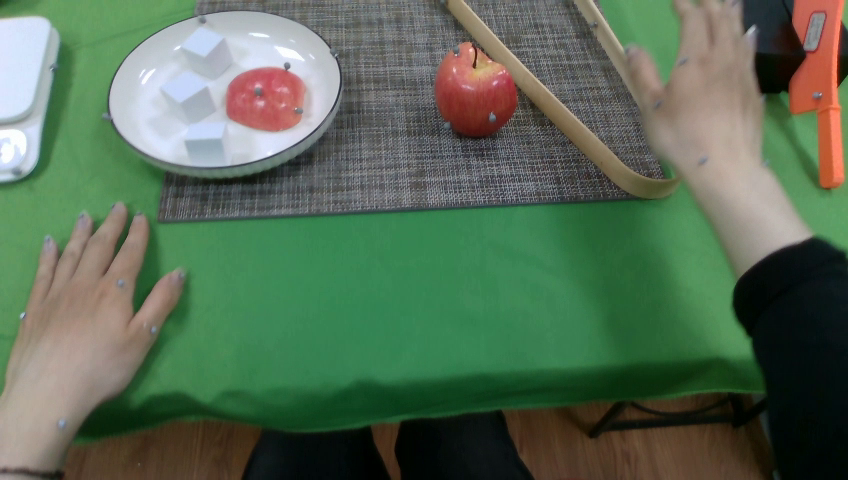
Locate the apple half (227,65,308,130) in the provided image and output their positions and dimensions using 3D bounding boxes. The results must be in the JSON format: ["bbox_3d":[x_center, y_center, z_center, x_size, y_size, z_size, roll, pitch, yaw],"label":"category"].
[{"bbox_3d":[-0.149,-0.142,0.568,0.081,0.033,0.080,3,57,-5],"label":"apple half"}]

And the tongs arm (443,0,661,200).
[{"bbox_3d":[0.097,-0.180,0.617,0.028,0.028,0.384,-23,61,-21],"label":"tongs arm"}]

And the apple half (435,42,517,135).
[{"bbox_3d":[0.039,-0.132,0.556,0.053,0.075,0.080,-38,69,-19],"label":"apple half"}]

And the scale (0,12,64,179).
[{"bbox_3d":[-0.426,-0.136,0.565,0.149,0.032,0.199,-7,58,-7],"label":"scale"}]

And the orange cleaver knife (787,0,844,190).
[{"bbox_3d":[0.375,-0.150,0.582,0.012,0.077,0.211,2,86,-5],"label":"orange cleaver knife"}]

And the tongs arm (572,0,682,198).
[{"bbox_3d":[0.175,-0.204,0.635,0.051,0.027,0.381,-13,59,-12],"label":"tongs arm"}]

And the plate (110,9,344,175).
[{"bbox_3d":[-0.179,-0.138,0.570,0.209,0.038,0.207,1,57,-2],"label":"plate"}]
